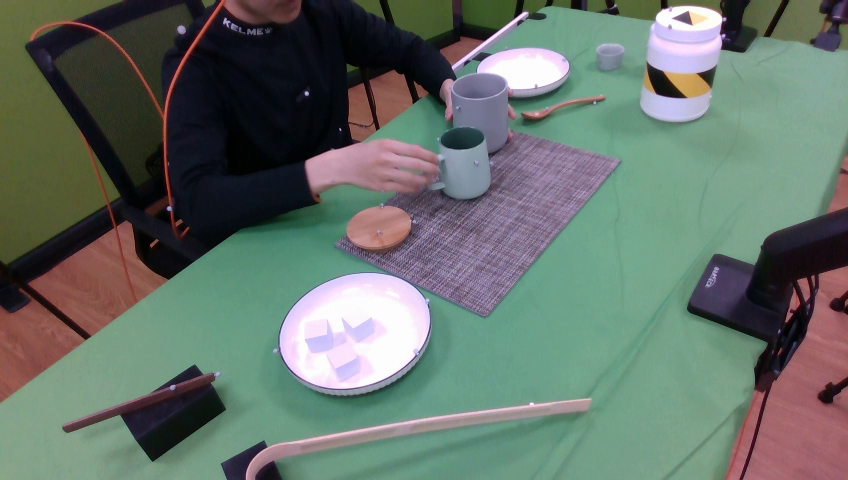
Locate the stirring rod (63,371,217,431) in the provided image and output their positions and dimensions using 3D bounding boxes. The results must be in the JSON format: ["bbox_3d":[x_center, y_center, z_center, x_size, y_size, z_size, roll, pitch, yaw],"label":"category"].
[{"bbox_3d":[-0.337,0.192,0.723,0.177,0.014,0.005,-18,43,-12],"label":"stirring rod"}]

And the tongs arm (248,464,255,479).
[{"bbox_3d":[0.012,0.262,0.615,0.385,0.026,0.050,3,41,-2],"label":"tongs arm"}]

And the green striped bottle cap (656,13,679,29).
[{"bbox_3d":[0.515,-0.463,1.278,0.044,0.020,0.044,-6,42,6],"label":"green striped bottle cap"}]

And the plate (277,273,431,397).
[{"bbox_3d":[-0.091,0.129,0.821,0.207,0.039,0.206,-4,40,4],"label":"plate"}]

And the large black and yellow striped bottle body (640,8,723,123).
[{"bbox_3d":[0.493,-0.334,1.161,0.131,0.185,0.130,-4,41,4],"label":"large black and yellow striped bottle body"}]

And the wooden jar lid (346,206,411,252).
[{"bbox_3d":[-0.074,-0.017,0.996,0.108,0.021,0.108,-3,39,3],"label":"wooden jar lid"}]

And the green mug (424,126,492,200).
[{"bbox_3d":[0.055,-0.125,1.039,0.126,0.105,0.091,-26,45,-19],"label":"green mug"}]

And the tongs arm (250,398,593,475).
[{"bbox_3d":[0.008,0.212,0.675,0.389,0.028,0.028,-5,46,-11],"label":"tongs arm"}]

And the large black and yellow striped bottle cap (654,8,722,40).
[{"bbox_3d":[0.483,-0.397,1.108,0.115,0.019,0.114,-3,41,3],"label":"large black and yellow striped bottle cap"}]

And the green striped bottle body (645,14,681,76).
[{"bbox_3d":[0.520,-0.424,1.312,0.063,0.120,0.063,-4,41,4],"label":"green striped bottle body"}]

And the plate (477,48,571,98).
[{"bbox_3d":[0.223,-0.371,1.357,0.209,0.038,0.208,-4,41,4],"label":"plate"}]

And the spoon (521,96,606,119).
[{"bbox_3d":[0.291,-0.277,1.249,0.194,0.022,0.041,-17,24,-11],"label":"spoon"}]

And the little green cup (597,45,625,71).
[{"bbox_3d":[0.423,-0.413,1.375,0.061,0.039,0.061,-3,41,3],"label":"little green cup"}]

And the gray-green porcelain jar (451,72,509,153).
[{"bbox_3d":[0.108,-0.235,1.141,0.106,0.127,0.105,-4,41,4],"label":"gray-green porcelain jar"}]
